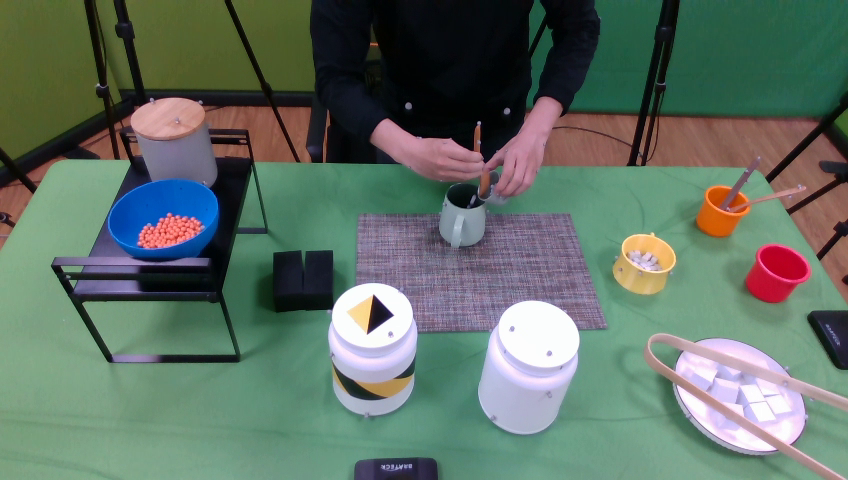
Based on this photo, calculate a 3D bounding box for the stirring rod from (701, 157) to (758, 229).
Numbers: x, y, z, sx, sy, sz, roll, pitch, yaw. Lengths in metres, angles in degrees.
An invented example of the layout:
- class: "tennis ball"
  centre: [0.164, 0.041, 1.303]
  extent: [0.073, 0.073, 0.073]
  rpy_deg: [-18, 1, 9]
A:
- class: "stirring rod"
  centre: [0.634, -0.097, 1.257]
  extent: [0.014, 0.006, 0.176]
  rpy_deg: [38, 97, 30]

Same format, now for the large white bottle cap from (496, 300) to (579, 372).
- class: "large white bottle cap"
  centre: [0.160, 0.133, 0.853]
  extent: [0.115, 0.018, 0.114]
  rpy_deg: [3, 46, -3]

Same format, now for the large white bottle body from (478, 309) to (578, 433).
- class: "large white bottle body"
  centre: [0.156, 0.192, 0.913]
  extent: [0.131, 0.185, 0.130]
  rpy_deg: [2, 46, -2]

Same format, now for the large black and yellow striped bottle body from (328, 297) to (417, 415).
- class: "large black and yellow striped bottle body"
  centre: [-0.078, 0.167, 0.920]
  extent: [0.131, 0.185, 0.130]
  rpy_deg: [2, 46, -2]

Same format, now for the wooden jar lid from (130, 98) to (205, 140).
- class: "wooden jar lid"
  centre: [-0.393, -0.183, 0.934]
  extent: [0.108, 0.021, 0.107]
  rpy_deg: [3, 44, -2]

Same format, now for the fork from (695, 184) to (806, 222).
- class: "fork"
  centre: [0.658, -0.074, 1.230]
  extent: [0.207, 0.019, 0.028]
  rpy_deg: [-23, 35, 37]

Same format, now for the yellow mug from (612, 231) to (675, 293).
- class: "yellow mug"
  centre: [0.424, 0.033, 1.168]
  extent: [0.100, 0.064, 0.130]
  rpy_deg: [18, 46, 13]

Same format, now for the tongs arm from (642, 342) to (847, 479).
- class: "tongs arm"
  centre: [0.504, 0.279, 0.918]
  extent: [0.386, 0.028, 0.028]
  rpy_deg: [33, 59, 22]

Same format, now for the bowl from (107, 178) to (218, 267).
- class: "bowl"
  centre: [-0.374, -0.014, 0.893]
  extent: [0.151, 0.077, 0.150]
  rpy_deg: [2, 46, -2]

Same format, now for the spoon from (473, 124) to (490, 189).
- class: "spoon"
  centre: [0.096, -0.139, 1.055]
  extent: [0.021, 0.195, 0.041]
  rpy_deg: [23, 69, 23]

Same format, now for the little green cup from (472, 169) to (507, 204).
- class: "little green cup"
  centre: [0.123, -0.097, 1.124]
  extent: [0.061, 0.039, 0.061]
  rpy_deg: [-34, 19, 14]

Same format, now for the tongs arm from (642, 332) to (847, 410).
- class: "tongs arm"
  centre: [0.546, 0.227, 0.968]
  extent: [0.384, 0.026, 0.050]
  rpy_deg: [22, 52, 13]

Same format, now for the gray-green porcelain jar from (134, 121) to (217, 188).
- class: "gray-green porcelain jar"
  centre: [-0.396, -0.141, 0.979]
  extent: [0.106, 0.127, 0.105]
  rpy_deg: [2, 47, -2]

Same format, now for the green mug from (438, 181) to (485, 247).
- class: "green mug"
  centre: [0.071, -0.039, 1.177]
  extent: [0.092, 0.105, 0.124]
  rpy_deg: [12, 47, 7]

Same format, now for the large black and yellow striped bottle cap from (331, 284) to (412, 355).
- class: "large black and yellow striped bottle cap"
  centre: [-0.073, 0.110, 0.858]
  extent: [0.115, 0.019, 0.114]
  rpy_deg: [2, 46, -2]

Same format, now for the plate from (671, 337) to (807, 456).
- class: "plate"
  centre: [0.504, 0.254, 0.984]
  extent: [0.208, 0.039, 0.206]
  rpy_deg: [2, 46, -2]
